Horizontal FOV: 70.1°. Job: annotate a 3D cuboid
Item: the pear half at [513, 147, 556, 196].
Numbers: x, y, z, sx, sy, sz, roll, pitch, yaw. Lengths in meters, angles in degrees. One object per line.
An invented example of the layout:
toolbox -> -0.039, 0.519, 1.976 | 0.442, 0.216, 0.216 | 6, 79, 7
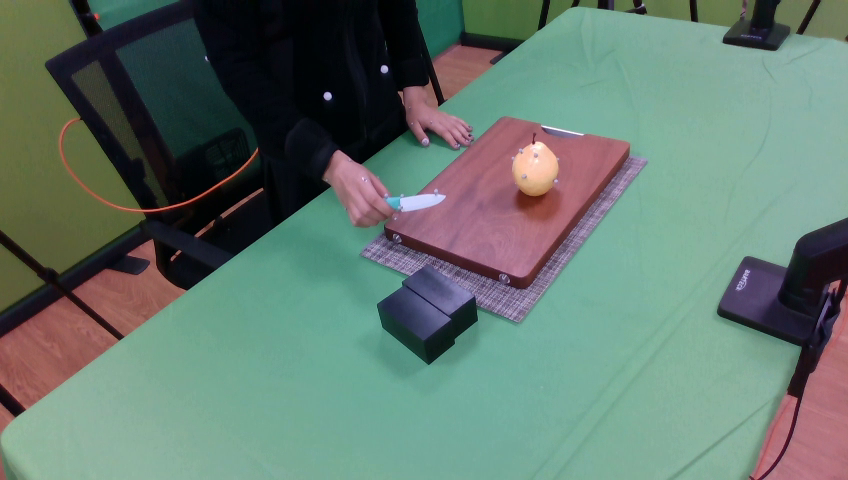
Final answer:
pear half -> 0.178, -0.106, 0.977 | 0.070, 0.088, 0.031 | 7, 43, 12

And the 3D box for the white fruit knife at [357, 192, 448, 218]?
white fruit knife -> -0.036, -0.055, 0.903 | 0.206, 0.027, 0.016 | -6, 26, 47

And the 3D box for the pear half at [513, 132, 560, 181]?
pear half -> 0.186, -0.136, 0.996 | 0.076, 0.110, 0.056 | 6, 42, 13
